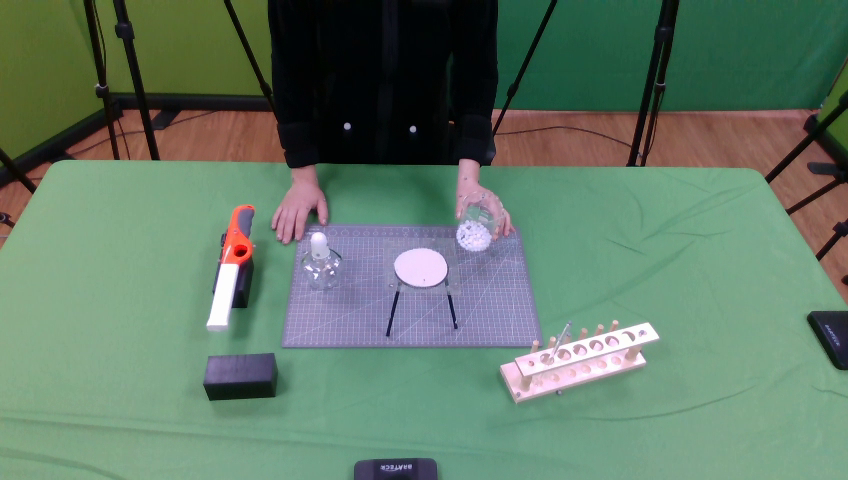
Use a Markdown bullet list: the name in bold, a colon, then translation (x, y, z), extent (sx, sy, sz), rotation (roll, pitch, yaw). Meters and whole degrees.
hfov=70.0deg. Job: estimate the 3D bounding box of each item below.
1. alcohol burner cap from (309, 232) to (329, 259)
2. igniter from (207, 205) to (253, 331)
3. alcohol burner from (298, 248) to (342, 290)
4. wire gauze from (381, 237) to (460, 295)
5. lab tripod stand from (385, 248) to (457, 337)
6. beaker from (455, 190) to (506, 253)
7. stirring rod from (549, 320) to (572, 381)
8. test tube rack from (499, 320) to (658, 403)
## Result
- **alcohol burner cap**: translation (-0.185, 0.008, 1.058), extent (0.034, 0.048, 0.033), rotation (0, 43, 0)
- **igniter**: translation (-0.339, 0.038, 1.066), extent (0.057, 0.025, 0.274), rotation (2, 48, -7)
- **alcohol burner**: translation (-0.187, 0.032, 1.084), extent (0.078, 0.120, 0.077), rotation (1, 46, -1)
- **wire gauze**: translation (-0.008, 0.040, 0.984), extent (0.125, 0.011, 0.120), rotation (0, 44, -4)
- **lab tripod stand**: translation (-0.010, 0.087, 1.032), extent (0.148, 0.132, 0.147), rotation (1, 45, -1)
- **beaker**: translation (0.099, -0.030, 1.102), extent (0.084, 0.101, 0.073), rotation (17, 53, 4)
- **stirring rod**: translation (0.202, 0.168, 0.901), extent (0.006, 0.177, 0.014), rotation (-17, 54, -10)
- **test tube rack**: translation (0.252, 0.187, 0.994), extent (0.243, 0.085, 0.066), rotation (-12, 48, -15)
